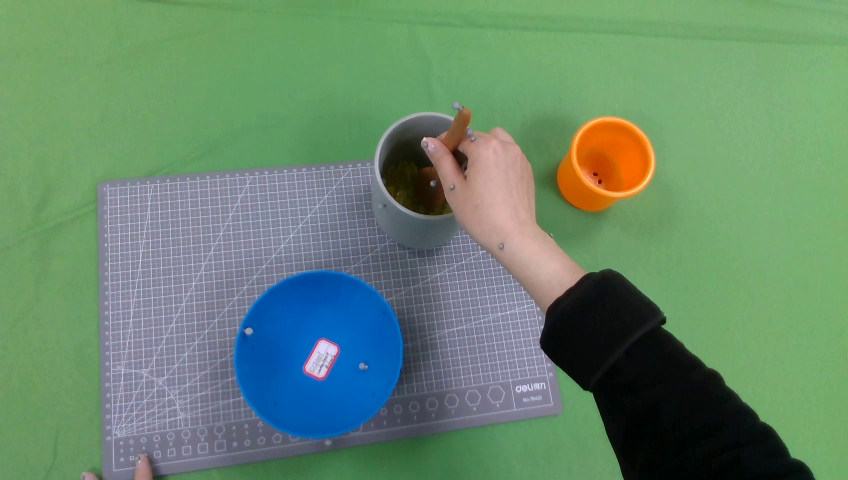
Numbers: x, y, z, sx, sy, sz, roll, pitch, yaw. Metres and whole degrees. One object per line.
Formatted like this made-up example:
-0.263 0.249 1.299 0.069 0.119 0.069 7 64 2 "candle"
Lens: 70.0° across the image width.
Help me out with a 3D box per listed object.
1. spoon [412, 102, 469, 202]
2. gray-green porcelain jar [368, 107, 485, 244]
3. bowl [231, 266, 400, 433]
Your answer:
0.014 -0.075 0.550 0.021 0.194 0.041 -36 84 -13 "spoon"
-0.003 -0.057 0.607 0.106 0.127 0.105 2 76 -6 "gray-green porcelain jar"
-0.100 0.105 0.579 0.152 0.077 0.150 2 76 -7 "bowl"
